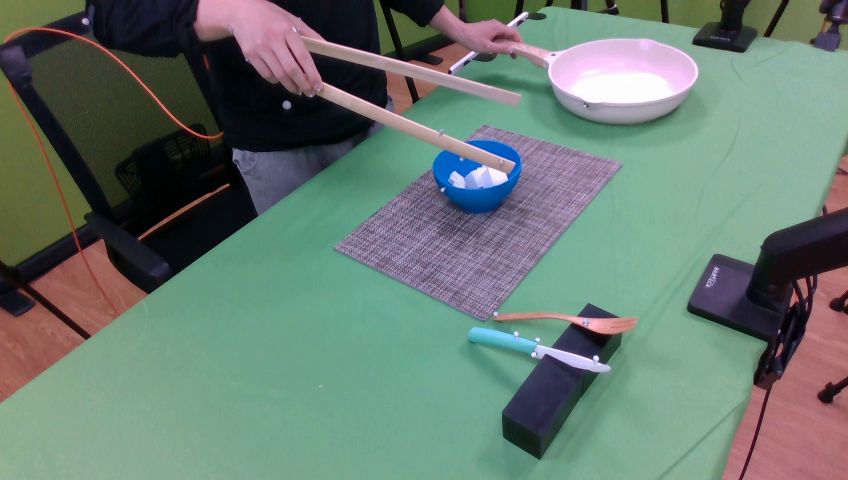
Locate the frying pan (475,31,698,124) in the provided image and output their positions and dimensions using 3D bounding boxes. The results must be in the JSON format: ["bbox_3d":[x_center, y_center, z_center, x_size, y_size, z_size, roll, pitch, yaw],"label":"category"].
[{"bbox_3d":[0.320,-0.371,1.290,0.485,0.103,0.307,28,50,23],"label":"frying pan"}]

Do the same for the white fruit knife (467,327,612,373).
[{"bbox_3d":[0.134,0.134,0.742,0.205,0.027,0.016,7,34,41],"label":"white fruit knife"}]

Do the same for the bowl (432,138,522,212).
[{"bbox_3d":[0.091,-0.100,1.021,0.151,0.077,0.150,-4,41,4],"label":"bowl"}]

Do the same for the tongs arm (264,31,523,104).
[{"bbox_3d":[-0.036,-0.249,0.888,0.389,0.027,0.028,10,64,-15],"label":"tongs arm"}]

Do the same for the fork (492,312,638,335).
[{"bbox_3d":[0.173,0.103,0.774,0.206,0.019,0.028,0,38,40],"label":"fork"}]

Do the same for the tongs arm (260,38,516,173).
[{"bbox_3d":[-0.048,-0.185,0.847,0.386,0.026,0.050,20,58,-8],"label":"tongs arm"}]
